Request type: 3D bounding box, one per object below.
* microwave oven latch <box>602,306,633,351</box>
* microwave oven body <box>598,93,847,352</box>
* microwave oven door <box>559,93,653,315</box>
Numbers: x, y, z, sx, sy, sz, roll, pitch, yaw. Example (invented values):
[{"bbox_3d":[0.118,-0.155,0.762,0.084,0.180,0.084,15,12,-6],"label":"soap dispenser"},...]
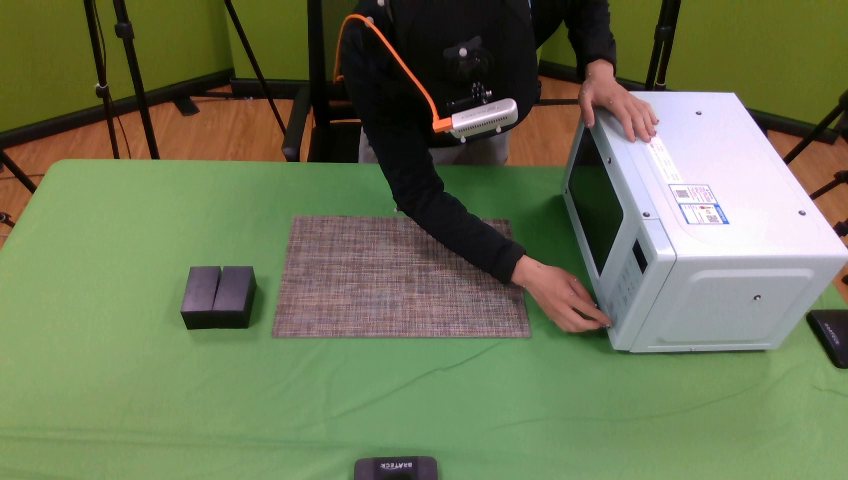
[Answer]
[{"bbox_3d":[0.332,0.152,1.044,0.030,0.029,0.078,0,45,-3],"label":"microwave oven latch"},{"bbox_3d":[0.475,-0.042,1.109,0.326,0.261,0.438,-1,45,-4],"label":"microwave oven body"},{"bbox_3d":[0.327,-0.074,1.123,0.039,0.245,0.353,-1,46,-5],"label":"microwave oven door"}]
